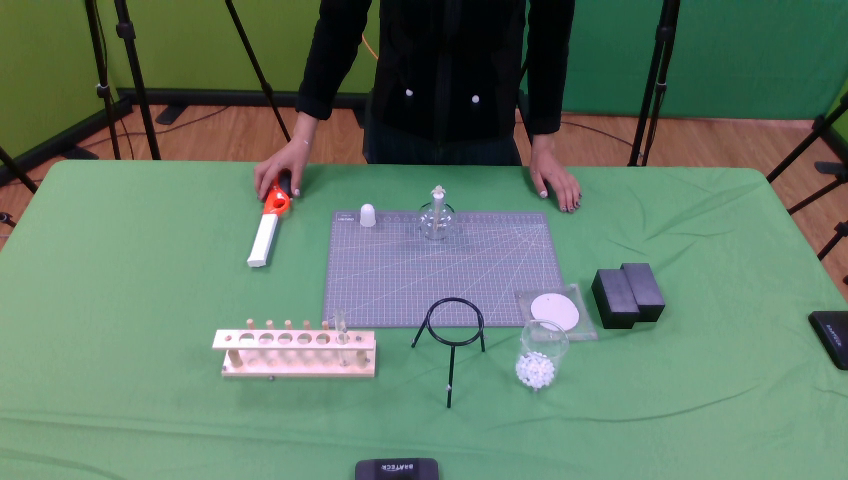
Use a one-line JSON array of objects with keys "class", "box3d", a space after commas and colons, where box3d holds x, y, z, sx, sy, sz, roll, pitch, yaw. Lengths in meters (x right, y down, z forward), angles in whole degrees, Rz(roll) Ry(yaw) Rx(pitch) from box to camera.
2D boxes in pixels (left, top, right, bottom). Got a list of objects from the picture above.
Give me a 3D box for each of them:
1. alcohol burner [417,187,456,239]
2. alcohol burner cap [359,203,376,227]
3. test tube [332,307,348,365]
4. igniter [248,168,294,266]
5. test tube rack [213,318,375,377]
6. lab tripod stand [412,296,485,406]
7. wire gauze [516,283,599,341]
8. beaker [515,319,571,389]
[{"class": "alcohol burner", "box3d": [0.025, -0.059, 1.189, 0.078, 0.120, 0.077, 1, 48, -1]}, {"class": "alcohol burner cap", "box3d": [-0.115, -0.053, 1.224, 0.034, 0.048, 0.033, 2, 46, -2]}, {"class": "test tube", "box3d": [-0.128, 0.151, 0.931, 0.017, 0.151, 0.017, 1, 50, -2]}, {"class": "igniter", "box3d": [-0.307, -0.055, 1.225, 0.057, 0.025, 0.275, -3, 46, 6]}, {"class": "test tube rack", "box3d": [-0.202, 0.170, 0.977, 0.242, 0.085, 0.066, 1, 46, -3]}, {"class": "lab tripod stand", "box3d": [0.045, 0.168, 0.963, 0.148, 0.132, 0.147, 3, 47, -3]}, {"class": "wire gauze", "box3d": [0.240, 0.131, 1.094, 0.125, 0.011, 0.120, -3, 48, -8]}, {"class": "beaker", "box3d": [0.186, 0.186, 0.980, 0.074, 0.101, 0.083, -23, 51, -24]}]
